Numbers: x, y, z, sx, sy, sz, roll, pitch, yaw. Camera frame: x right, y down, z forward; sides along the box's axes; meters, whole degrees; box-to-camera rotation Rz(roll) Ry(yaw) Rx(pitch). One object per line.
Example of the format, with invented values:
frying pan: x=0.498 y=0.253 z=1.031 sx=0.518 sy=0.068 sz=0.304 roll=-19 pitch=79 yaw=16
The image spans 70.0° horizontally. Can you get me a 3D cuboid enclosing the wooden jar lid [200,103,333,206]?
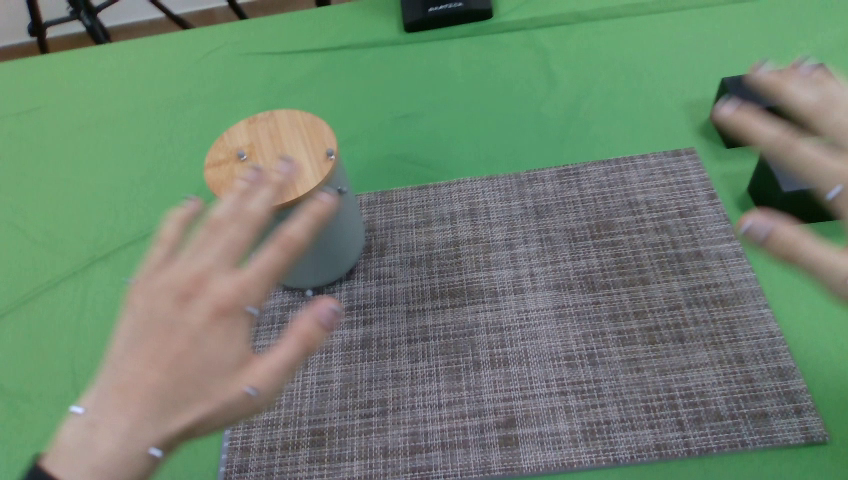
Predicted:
wooden jar lid: x=-0.126 y=-0.068 z=0.493 sx=0.108 sy=0.021 sz=0.107 roll=-2 pitch=56 yaw=3

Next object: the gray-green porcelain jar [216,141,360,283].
gray-green porcelain jar: x=-0.117 y=-0.031 z=0.543 sx=0.106 sy=0.128 sz=0.105 roll=-4 pitch=53 yaw=6
